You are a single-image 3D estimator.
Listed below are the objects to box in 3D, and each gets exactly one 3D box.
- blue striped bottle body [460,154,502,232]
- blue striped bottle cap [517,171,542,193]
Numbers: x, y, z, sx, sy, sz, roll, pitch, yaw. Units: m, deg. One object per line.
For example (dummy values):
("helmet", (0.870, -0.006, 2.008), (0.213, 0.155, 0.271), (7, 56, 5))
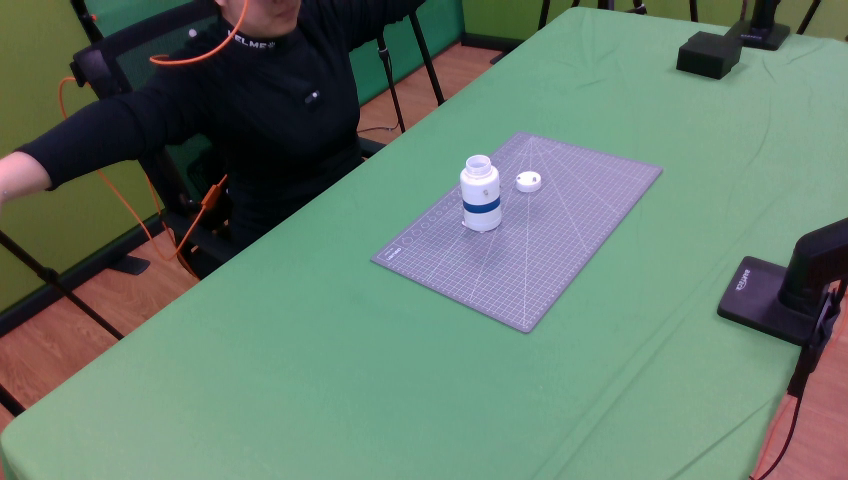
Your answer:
("blue striped bottle body", (0.092, -0.078, 0.976), (0.063, 0.121, 0.063), (-6, 40, 5))
("blue striped bottle cap", (0.187, -0.103, 1.072), (0.044, 0.021, 0.044), (-5, 42, 5))
